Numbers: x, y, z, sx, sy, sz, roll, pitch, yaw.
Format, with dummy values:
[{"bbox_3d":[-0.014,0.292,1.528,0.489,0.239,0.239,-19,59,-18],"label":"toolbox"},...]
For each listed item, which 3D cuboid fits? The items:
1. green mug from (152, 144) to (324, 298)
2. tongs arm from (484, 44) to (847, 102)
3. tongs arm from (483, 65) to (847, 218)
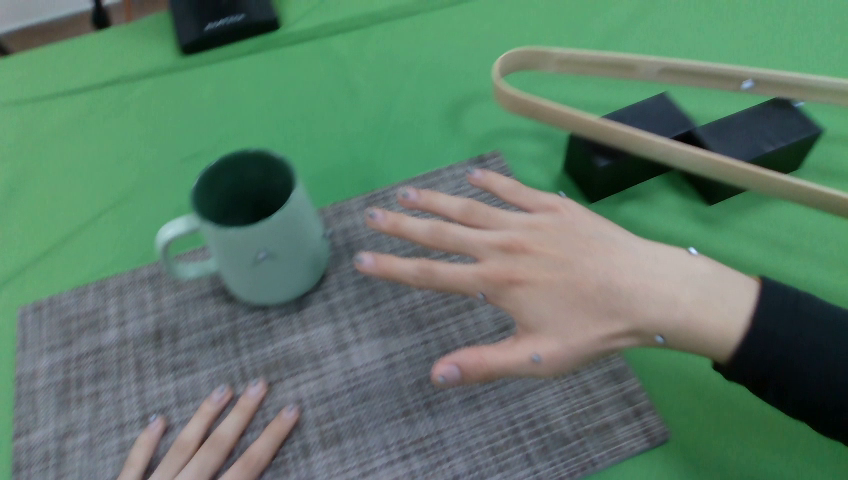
[{"bbox_3d":[-0.149,-0.007,0.483,0.125,0.106,0.091,-21,57,-10],"label":"green mug"},{"bbox_3d":[0.246,-0.136,0.537,0.384,0.027,0.050,12,61,11],"label":"tongs arm"},{"bbox_3d":[0.219,-0.074,0.499,0.385,0.028,0.028,23,67,18],"label":"tongs arm"}]
